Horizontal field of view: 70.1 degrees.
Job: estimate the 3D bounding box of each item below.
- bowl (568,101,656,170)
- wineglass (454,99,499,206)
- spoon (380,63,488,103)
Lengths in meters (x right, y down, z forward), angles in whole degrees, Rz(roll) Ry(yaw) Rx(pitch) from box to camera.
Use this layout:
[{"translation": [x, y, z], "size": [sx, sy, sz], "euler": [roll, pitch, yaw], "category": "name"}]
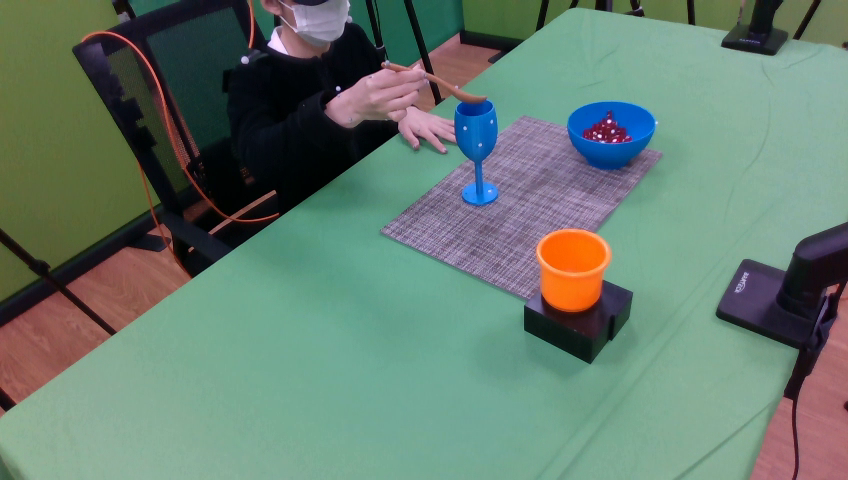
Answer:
[{"translation": [0.332, -0.179, 1.084], "size": [0.151, 0.077, 0.150], "euler": [-4, 40, 4], "category": "bowl"}, {"translation": [0.090, -0.145, 1.009], "size": [0.074, 0.173, 0.073], "euler": [-5, 40, 4], "category": "wineglass"}, {"translation": [0.017, -0.233, 0.897], "size": [0.195, 0.021, 0.041], "euler": [12, 3, -36], "category": "spoon"}]
